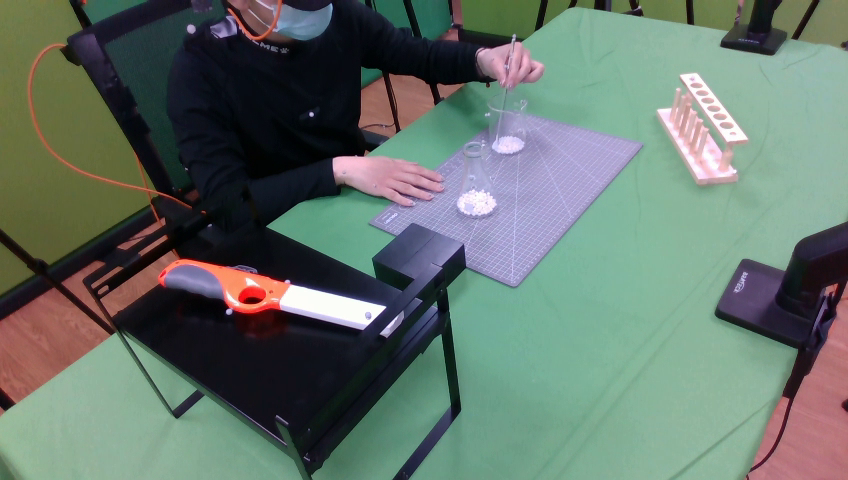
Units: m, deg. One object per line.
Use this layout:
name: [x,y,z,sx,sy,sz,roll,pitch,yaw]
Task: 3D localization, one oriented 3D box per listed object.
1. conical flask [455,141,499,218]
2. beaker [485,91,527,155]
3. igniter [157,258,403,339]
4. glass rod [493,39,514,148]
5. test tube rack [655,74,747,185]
conical flask: [0.085,-0.103,0.999,0.075,0.122,0.075,-4,40,4]
beaker: [0.158,-0.217,1.141,0.074,0.101,0.083,-19,42,-12]
igniter: [-0.157,0.059,0.638,0.275,0.025,0.057,11,43,14]
glass rod: [0.147,-0.268,1.118,0.008,0.200,0.008,6,24,-2]
test tube rack: [0.491,-0.205,1.092,0.067,0.085,0.241,-5,40,3]
